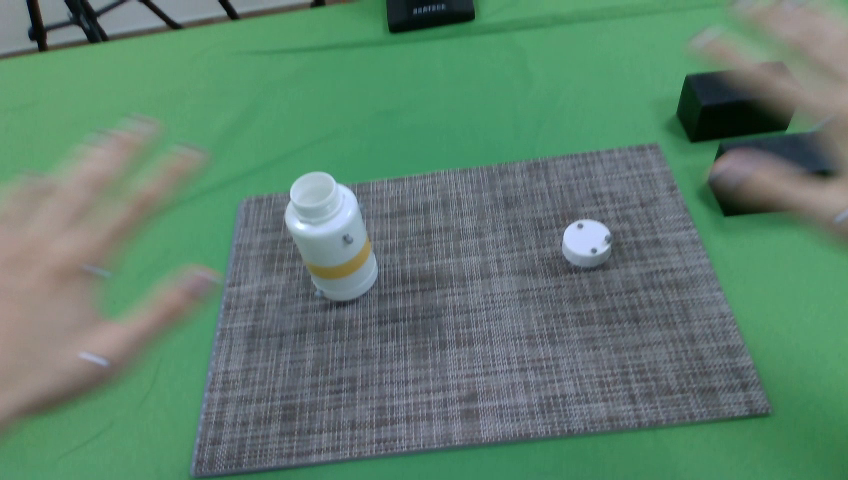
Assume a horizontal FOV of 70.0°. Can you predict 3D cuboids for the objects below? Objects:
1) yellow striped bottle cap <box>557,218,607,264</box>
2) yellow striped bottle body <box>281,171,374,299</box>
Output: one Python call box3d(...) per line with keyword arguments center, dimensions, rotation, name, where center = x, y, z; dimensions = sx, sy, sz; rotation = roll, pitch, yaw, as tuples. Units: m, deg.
box3d(center=(0.147, 0.001, 0.563), dimensions=(0.044, 0.019, 0.044), rotation=(-2, 50, 3), name="yellow striped bottle cap")
box3d(center=(-0.086, -0.006, 0.536), dimensions=(0.063, 0.121, 0.062), rotation=(-4, 51, 6), name="yellow striped bottle body")
